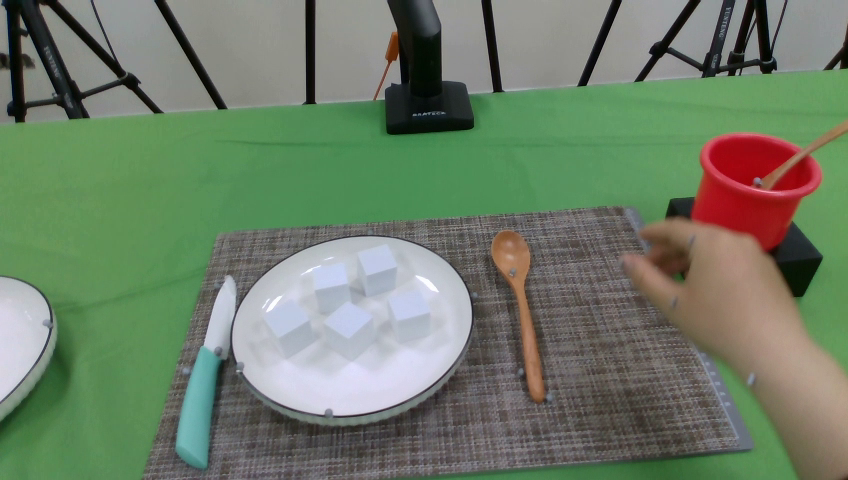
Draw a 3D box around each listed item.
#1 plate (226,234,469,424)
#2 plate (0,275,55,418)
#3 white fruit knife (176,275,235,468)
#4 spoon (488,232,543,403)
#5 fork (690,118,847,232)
[{"bbox_3d":[-0.065,0.076,0.534,0.208,0.039,0.205,-1,41,1],"label":"plate"},{"bbox_3d":[-0.422,0.113,0.513,0.209,0.038,0.207,-1,40,1],"label":"plate"},{"bbox_3d":[-0.186,0.101,0.529,0.027,0.016,0.205,18,35,-21],"label":"white fruit knife"},{"bbox_3d":[0.086,0.062,0.553,0.042,0.022,0.191,12,39,-12],"label":"spoon"},{"bbox_3d":[0.329,-0.070,0.529,0.207,0.019,0.028,-40,28,22],"label":"fork"}]
